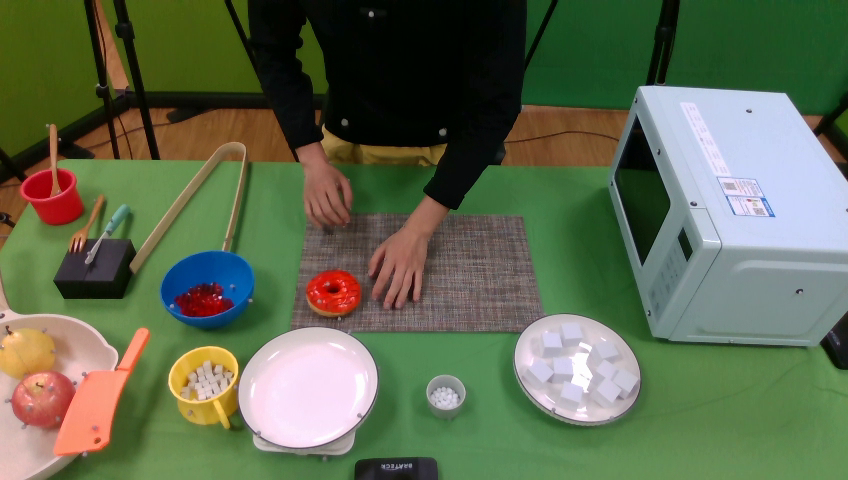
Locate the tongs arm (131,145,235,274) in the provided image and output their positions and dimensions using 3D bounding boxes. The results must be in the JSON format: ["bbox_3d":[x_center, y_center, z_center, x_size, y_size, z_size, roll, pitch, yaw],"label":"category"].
[{"bbox_3d":[-0.485,-0.076,1.235,0.028,0.028,0.385,5,44,13],"label":"tongs arm"}]

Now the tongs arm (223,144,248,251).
[{"bbox_3d":[-0.398,-0.072,1.232,0.051,0.027,0.382,-3,45,0],"label":"tongs arm"}]

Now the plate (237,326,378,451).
[{"bbox_3d":[-0.174,0.224,0.917,0.209,0.038,0.208,2,46,-2],"label":"plate"}]

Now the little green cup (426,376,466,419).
[{"bbox_3d":[0.033,0.248,0.950,0.061,0.039,0.061,2,46,-2],"label":"little green cup"}]

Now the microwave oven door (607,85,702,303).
[{"bbox_3d":[0.423,-0.094,1.140,0.039,0.245,0.353,2,46,-1],"label":"microwave oven door"}]

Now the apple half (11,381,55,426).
[{"bbox_3d":[-0.570,0.246,0.875,0.081,0.081,0.033,32,49,24],"label":"apple half"}]

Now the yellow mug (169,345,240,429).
[{"bbox_3d":[-0.323,0.230,0.922,0.100,0.064,0.130,-24,53,-25],"label":"yellow mug"}]

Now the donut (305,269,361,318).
[{"bbox_3d":[-0.160,0.094,1.075,0.099,0.048,0.098,4,45,-3],"label":"donut"}]

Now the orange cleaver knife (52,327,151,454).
[{"bbox_3d":[-0.462,0.212,0.878,0.077,0.012,0.210,6,46,-1],"label":"orange cleaver knife"}]

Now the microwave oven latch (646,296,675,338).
[{"bbox_3d":[0.412,0.134,1.061,0.030,0.029,0.078,4,45,1],"label":"microwave oven latch"}]

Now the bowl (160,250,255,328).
[{"bbox_3d":[-0.362,0.098,1.040,0.151,0.077,0.150,2,45,-2],"label":"bowl"}]

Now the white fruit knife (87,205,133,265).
[{"bbox_3d":[-0.584,-0.013,1.129,0.016,0.027,0.206,0,31,-5],"label":"white fruit knife"}]

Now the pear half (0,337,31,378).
[{"bbox_3d":[-0.631,0.183,0.923,0.070,0.088,0.031,28,50,14],"label":"pear half"}]

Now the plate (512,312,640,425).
[{"bbox_3d":[0.246,0.213,0.999,0.208,0.039,0.206,2,46,-2],"label":"plate"}]

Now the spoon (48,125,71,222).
[{"bbox_3d":[-0.718,-0.131,1.188,0.041,0.021,0.193,-3,90,-7],"label":"spoon"}]

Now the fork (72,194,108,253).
[{"bbox_3d":[-0.634,-0.036,1.158,0.028,0.019,0.206,-7,31,-8],"label":"fork"}]

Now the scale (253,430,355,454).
[{"bbox_3d":[-0.175,0.236,0.951,0.149,0.032,0.199,4,46,0],"label":"scale"}]

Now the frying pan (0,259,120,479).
[{"bbox_3d":[-0.647,0.164,0.936,0.307,0.103,0.485,-19,58,-22],"label":"frying pan"}]

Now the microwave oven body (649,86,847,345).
[{"bbox_3d":[0.567,-0.053,1.118,0.326,0.261,0.439,2,45,-1],"label":"microwave oven body"}]

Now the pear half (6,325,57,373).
[{"bbox_3d":[-0.607,0.158,0.935,0.076,0.110,0.056,31,51,19],"label":"pear half"}]

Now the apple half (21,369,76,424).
[{"bbox_3d":[-0.546,0.226,0.898,0.080,0.075,0.053,30,48,27],"label":"apple half"}]
